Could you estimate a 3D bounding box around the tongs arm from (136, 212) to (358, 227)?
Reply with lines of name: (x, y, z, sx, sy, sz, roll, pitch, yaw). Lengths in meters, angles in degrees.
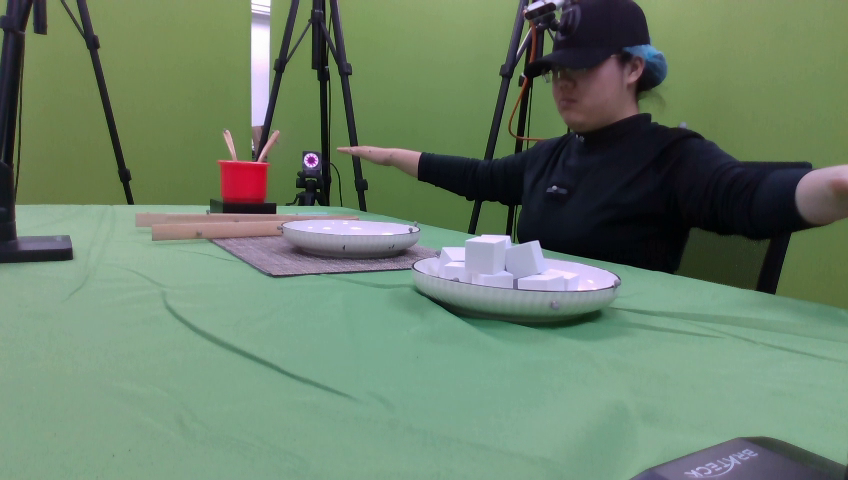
tongs arm: (-0.308, -0.034, 1.100, 0.387, 0.026, 0.050, -1, 6, -29)

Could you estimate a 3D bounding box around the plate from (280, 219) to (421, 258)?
plate: (-0.108, -0.002, 0.902, 0.208, 0.039, 0.207, 3, 7, 0)

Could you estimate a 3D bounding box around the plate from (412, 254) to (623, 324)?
plate: (0.090, 0.047, 0.609, 0.209, 0.038, 0.209, 2, 7, 0)

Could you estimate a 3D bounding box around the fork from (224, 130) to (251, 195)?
fork: (-0.372, -0.155, 1.193, 0.028, 0.018, 0.206, -17, 54, -14)

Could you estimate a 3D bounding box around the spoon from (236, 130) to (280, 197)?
spoon: (-0.321, -0.154, 1.192, 0.041, 0.193, 0.022, 1, -37, 19)

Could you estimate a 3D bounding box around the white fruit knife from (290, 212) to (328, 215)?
white fruit knife: (-0.304, -0.050, 1.328, 0.208, 0.016, 0.027, -3, -19, -29)

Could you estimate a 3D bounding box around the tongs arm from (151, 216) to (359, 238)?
tongs arm: (-0.263, -0.023, 1.032, 0.390, 0.028, 0.028, -3, 4, -42)
